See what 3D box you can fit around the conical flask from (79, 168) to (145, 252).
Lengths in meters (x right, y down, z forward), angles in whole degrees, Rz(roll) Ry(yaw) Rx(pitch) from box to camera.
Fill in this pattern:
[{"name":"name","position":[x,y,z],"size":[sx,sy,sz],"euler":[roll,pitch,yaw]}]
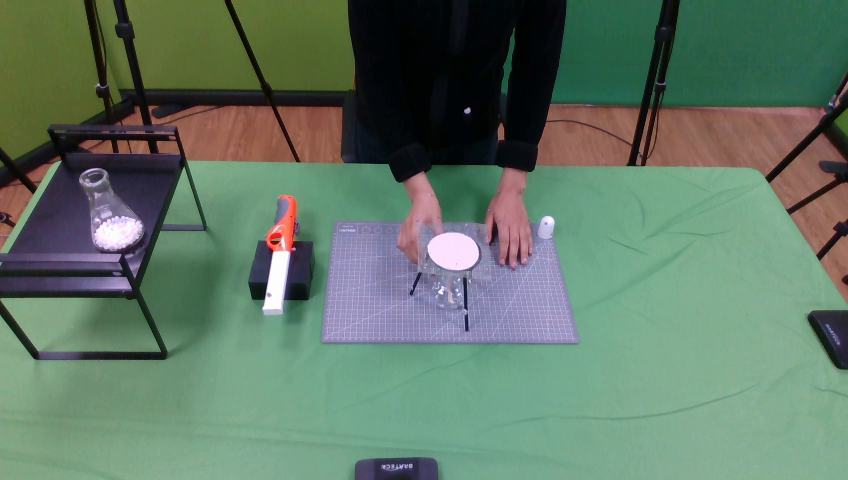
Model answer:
[{"name":"conical flask","position":[-0.463,-0.048,0.888],"size":[0.075,0.122,0.075],"euler":[2,46,-2]}]

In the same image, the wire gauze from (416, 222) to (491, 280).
[{"name":"wire gauze","position":[0.047,0.014,1.013],"size":[0.125,0.011,0.120],"euler":[3,47,-3]}]

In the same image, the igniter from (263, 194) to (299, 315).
[{"name":"igniter","position":[-0.259,0.016,1.093],"size":[0.057,0.025,0.274],"euler":[-3,49,-2]}]

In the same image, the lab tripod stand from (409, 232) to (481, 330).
[{"name":"lab tripod stand","position":[0.051,0.064,1.059],"size":[0.148,0.132,0.147],"euler":[4,46,-4]}]

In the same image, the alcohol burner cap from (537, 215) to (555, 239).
[{"name":"alcohol burner cap","position":[0.249,-0.029,1.228],"size":[0.034,0.048,0.033],"euler":[1,48,-1]}]

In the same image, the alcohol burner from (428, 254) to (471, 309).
[{"name":"alcohol burner","position":[0.046,0.068,1.070],"size":[0.078,0.119,0.077],"euler":[3,45,-3]}]
